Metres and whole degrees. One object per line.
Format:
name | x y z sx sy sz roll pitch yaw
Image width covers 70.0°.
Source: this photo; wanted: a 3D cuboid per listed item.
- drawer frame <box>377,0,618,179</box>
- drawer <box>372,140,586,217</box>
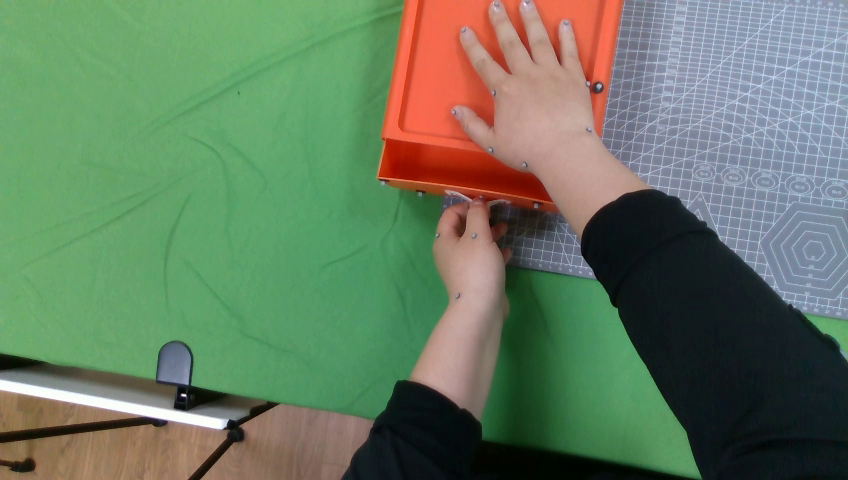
drawer frame | 0.073 -0.176 0.584 0.201 0.083 0.213 8 89 10
drawer | 0.067 -0.137 0.583 0.194 0.073 0.211 9 89 10
